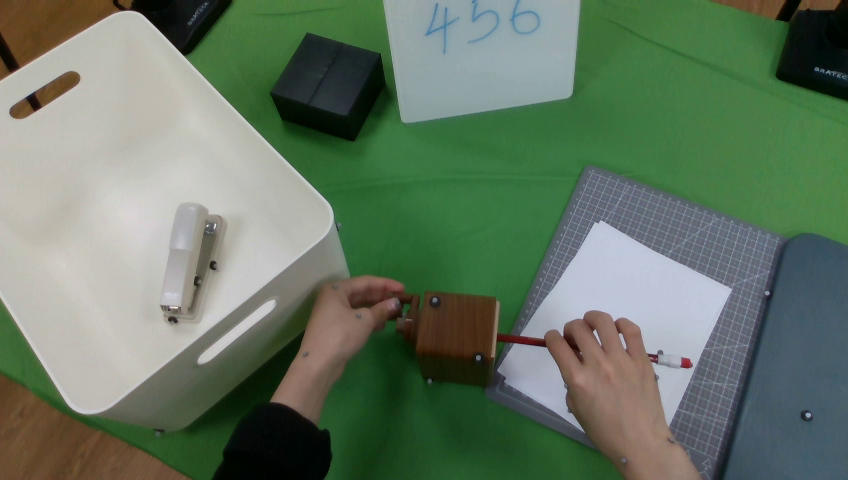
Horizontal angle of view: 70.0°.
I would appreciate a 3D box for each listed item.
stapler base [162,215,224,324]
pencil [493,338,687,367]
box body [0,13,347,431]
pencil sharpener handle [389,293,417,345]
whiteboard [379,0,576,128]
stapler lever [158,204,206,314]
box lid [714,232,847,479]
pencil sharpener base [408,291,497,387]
[{"bbox_3d":[-0.255,0.027,0.662,0.041,0.024,0.129,3,67,6],"label":"stapler base"},{"bbox_3d":[0.136,0.097,0.532,0.194,0.012,0.012,6,64,-2],"label":"pencil"},{"bbox_3d":[-0.280,-0.020,0.615,0.254,0.161,0.361,-41,69,-15],"label":"box body"},{"bbox_3d":[-0.023,0.072,0.570,0.030,0.036,0.067,6,29,6],"label":"pencil sharpener handle"},{"bbox_3d":[0.053,-0.311,0.693,0.217,0.308,0.142,-9,45,-1],"label":"whiteboard"},{"bbox_3d":[-0.256,0.017,0.638,0.027,0.040,0.117,3,67,7],"label":"stapler lever"},{"bbox_3d":[0.434,0.181,0.572,0.262,0.015,0.370,23,68,12],"label":"box lid"},{"bbox_3d":[0.027,0.096,0.577,0.076,0.108,0.061,6,65,6],"label":"pencil sharpener base"}]
